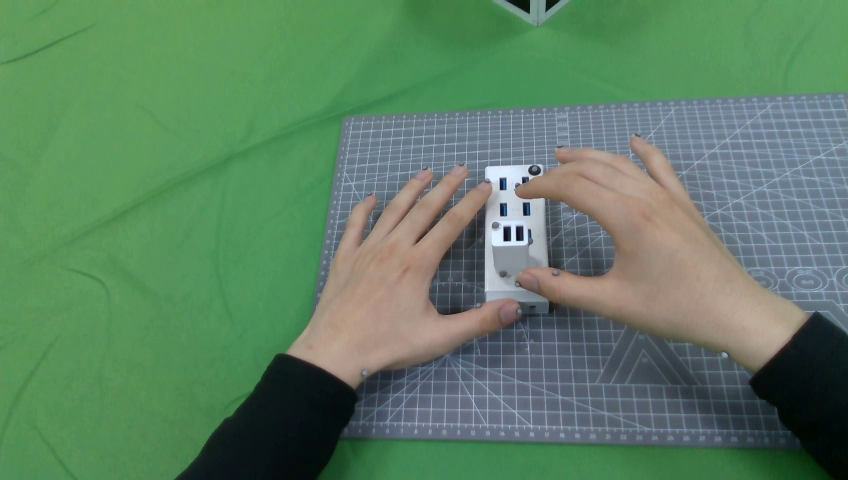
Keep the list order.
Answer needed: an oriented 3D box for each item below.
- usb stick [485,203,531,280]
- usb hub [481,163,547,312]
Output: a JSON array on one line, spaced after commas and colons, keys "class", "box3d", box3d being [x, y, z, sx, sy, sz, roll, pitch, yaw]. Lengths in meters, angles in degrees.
[{"class": "usb stick", "box3d": [0.059, 0.000, 0.426, 0.027, 0.060, 0.021, -24, 50, -10]}, {"class": "usb hub", "box3d": [0.070, -0.005, 0.477, 0.049, 0.025, 0.124, 0, 61, 7]}]
